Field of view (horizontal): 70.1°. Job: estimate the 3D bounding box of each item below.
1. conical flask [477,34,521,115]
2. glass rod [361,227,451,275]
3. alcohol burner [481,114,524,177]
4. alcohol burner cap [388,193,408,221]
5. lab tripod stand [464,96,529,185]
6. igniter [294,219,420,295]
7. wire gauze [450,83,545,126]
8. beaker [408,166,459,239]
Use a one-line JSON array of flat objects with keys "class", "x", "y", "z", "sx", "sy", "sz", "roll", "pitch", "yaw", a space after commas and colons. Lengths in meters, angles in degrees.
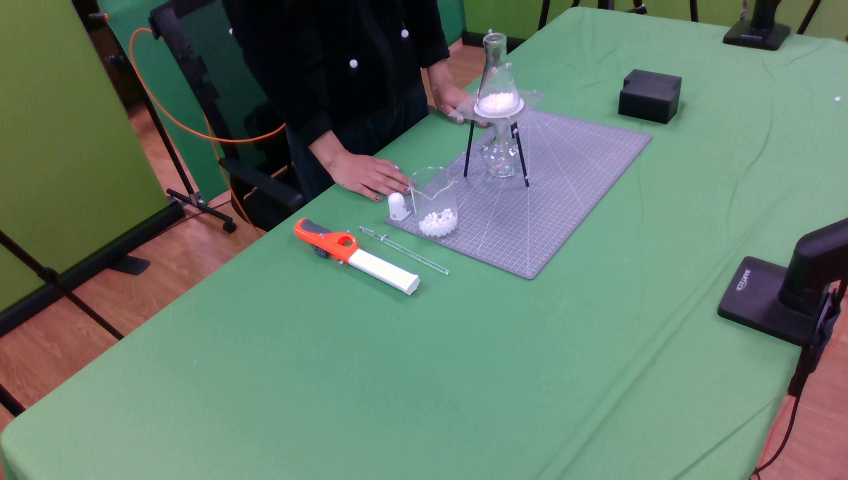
[{"class": "conical flask", "x": 0.121, "y": -0.275, "z": 0.999, "sx": 0.075, "sy": 0.122, "sz": 0.075, "roll": -5, "pitch": 40, "yaw": 5}, {"class": "glass rod", "x": -0.033, "y": 0.015, "z": 0.985, "sx": 0.198, "sy": 0.008, "sz": 0.008, "roll": 26, "pitch": 52, "yaw": 34}, {"class": "alcohol burner", "x": 0.141, "y": -0.174, "z": 1.087, "sx": 0.078, "sy": 0.119, "sz": 0.077, "roll": -4, "pitch": 40, "yaw": 4}, {"class": "alcohol burner cap", "x": -0.047, "y": -0.059, "z": 1.043, "sx": 0.034, "sy": 0.048, "sz": 0.033, "roll": -5, "pitch": 39, "yaw": 5}, {"class": "lab tripod stand", "x": 0.138, "y": -0.182, "z": 1.082, "sx": 0.148, "sy": 0.132, "sz": 0.147, "roll": -6, "pitch": 38, "yaw": 6}, {"class": "igniter", "x": -0.118, "y": 0.022, "z": 0.977, "sx": 0.274, "sy": 0.025, "sz": 0.057, "roll": 24, "pitch": 60, "yaw": 34}, {"class": "wire gauze", "x": 0.126, "y": -0.232, "z": 1.041, "sx": 0.120, "sy": 0.011, "sz": 0.125, "roll": 17, "pitch": 48, "yaw": 31}, {"class": "beaker", "x": 0.018, "y": -0.057, "z": 0.984, "sx": 0.074, "sy": 0.101, "sz": 0.083, "roll": -6, "pitch": 41, "yaw": 5}]
